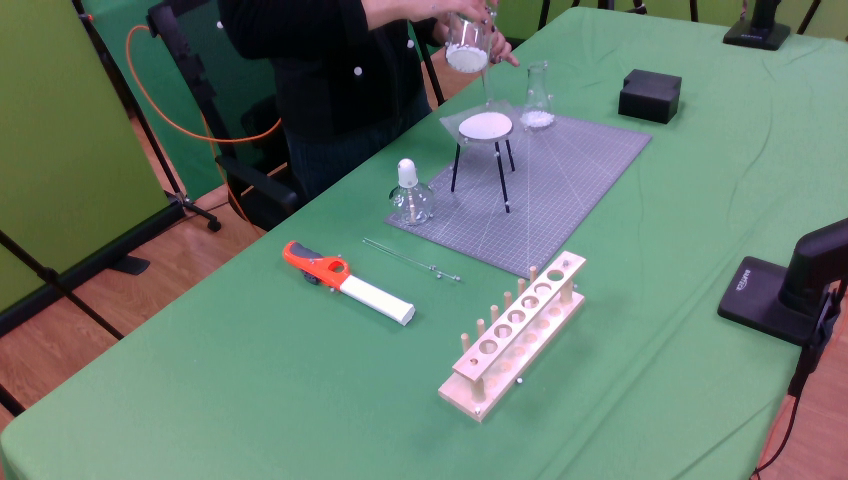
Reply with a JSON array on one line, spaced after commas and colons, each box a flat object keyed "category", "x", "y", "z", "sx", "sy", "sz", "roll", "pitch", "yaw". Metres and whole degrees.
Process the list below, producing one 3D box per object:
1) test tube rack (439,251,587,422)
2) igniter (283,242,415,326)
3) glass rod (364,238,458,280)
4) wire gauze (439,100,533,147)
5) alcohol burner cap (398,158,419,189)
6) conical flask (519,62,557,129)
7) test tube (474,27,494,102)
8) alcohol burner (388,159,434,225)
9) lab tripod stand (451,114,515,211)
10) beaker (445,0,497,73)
[{"category": "test tube rack", "x": 0.118, "y": 0.111, "z": 0.780, "sx": 0.066, "sy": 0.085, "sz": 0.243, "roll": 26, "pitch": 51, "yaw": 35}, {"category": "igniter", "x": -0.126, "y": 0.062, "z": 0.931, "sx": 0.274, "sy": 0.025, "sz": 0.057, "roll": 23, "pitch": 60, "yaw": 33}, {"category": "glass rod", "x": -0.026, "y": 0.029, "z": 0.966, "sx": 0.198, "sy": 0.008, "sz": 0.008, "roll": 21, "pitch": 49, "yaw": 35}, {"category": "wire gauze", "x": 0.100, "y": -0.190, "z": 0.994, "sx": 0.125, "sy": 0.011, "sz": 0.120, "roll": -15, "pitch": 39, "yaw": -7}, {"category": "alcohol burner cap", "x": -0.027, "y": -0.111, "z": 0.989, "sx": 0.034, "sy": 0.048, "sz": 0.033, "roll": -3, "pitch": 46, "yaw": 4}, {"category": "conical flask", "x": 0.225, "y": -0.287, "z": 1.198, "sx": 0.075, "sy": 0.122, "sz": 0.075, "roll": -6, "pitch": 40, "yaw": 5}, {"category": "test tube", "x": 0.107, "y": -0.307, "z": 1.069, "sx": 0.017, "sy": 0.151, "sz": 0.017, "roll": -8, "pitch": 48, "yaw": 10}, {"category": "alcohol burner", "x": -0.023, "y": -0.085, "z": 1.013, "sx": 0.078, "sy": 0.119, "sz": 0.077, "roll": -4, "pitch": 38, "yaw": 4}, {"category": "lab tripod stand", "x": 0.113, "y": -0.140, "z": 1.037, "sx": 0.148, "sy": 0.132, "sz": 0.147, "roll": -6, "pitch": 38, "yaw": 5}, {"category": "beaker", "x": 0.074, "y": -0.324, "z": 0.961, "sx": 0.074, "sy": 0.084, "sz": 0.100, "roll": 5, "pitch": 72, "yaw": 16}]
